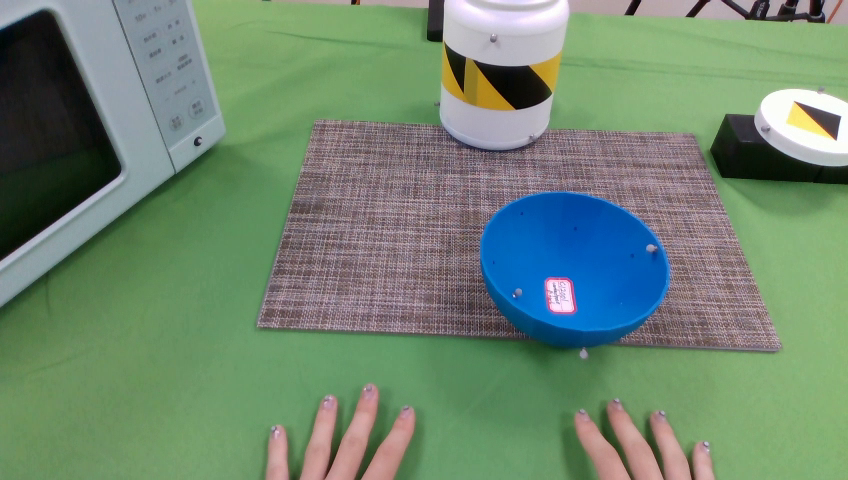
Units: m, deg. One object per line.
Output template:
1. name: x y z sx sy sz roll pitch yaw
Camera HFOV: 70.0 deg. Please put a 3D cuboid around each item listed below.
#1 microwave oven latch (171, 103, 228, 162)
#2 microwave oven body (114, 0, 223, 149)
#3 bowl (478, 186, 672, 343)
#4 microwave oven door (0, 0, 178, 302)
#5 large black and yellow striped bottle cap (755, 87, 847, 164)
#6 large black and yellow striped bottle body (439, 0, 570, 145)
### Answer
1. microwave oven latch: -0.244 -0.118 0.643 0.030 0.030 0.079 26 53 19
2. microwave oven body: -0.459 -0.128 0.513 0.324 0.262 0.440 24 52 18
3. bowl: 0.118 0.033 0.510 0.151 0.077 0.150 1 47 -1
4. microwave oven door: -0.354 -0.050 0.438 0.039 0.246 0.354 24 51 19
5. large black and yellow striped bottle cap: 0.414 -0.124 0.642 0.115 0.019 0.114 0 47 0
6. large black and yellow striped bottle body: 0.085 -0.213 0.662 0.131 0.185 0.129 1 44 -1
